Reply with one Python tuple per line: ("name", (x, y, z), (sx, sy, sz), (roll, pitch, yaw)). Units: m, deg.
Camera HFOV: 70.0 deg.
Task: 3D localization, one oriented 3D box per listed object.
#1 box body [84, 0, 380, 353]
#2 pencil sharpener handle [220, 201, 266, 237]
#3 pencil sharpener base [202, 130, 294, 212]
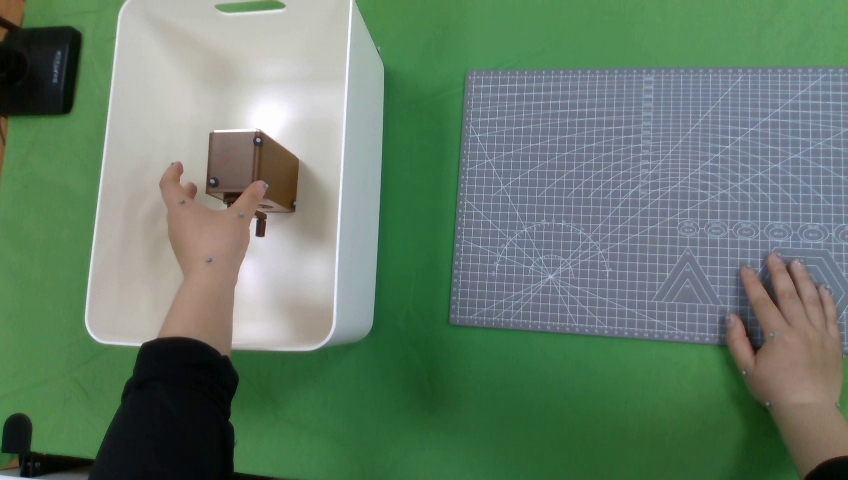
("box body", (-0.187, -0.064, 0.659), (0.254, 0.161, 0.362), (0, 81, 10))
("pencil sharpener handle", (-0.196, -0.022, 0.665), (0.036, 0.068, 0.030), (-1, 82, 20))
("pencil sharpener base", (-0.195, -0.071, 0.683), (0.061, 0.107, 0.076), (0, 83, 10))
